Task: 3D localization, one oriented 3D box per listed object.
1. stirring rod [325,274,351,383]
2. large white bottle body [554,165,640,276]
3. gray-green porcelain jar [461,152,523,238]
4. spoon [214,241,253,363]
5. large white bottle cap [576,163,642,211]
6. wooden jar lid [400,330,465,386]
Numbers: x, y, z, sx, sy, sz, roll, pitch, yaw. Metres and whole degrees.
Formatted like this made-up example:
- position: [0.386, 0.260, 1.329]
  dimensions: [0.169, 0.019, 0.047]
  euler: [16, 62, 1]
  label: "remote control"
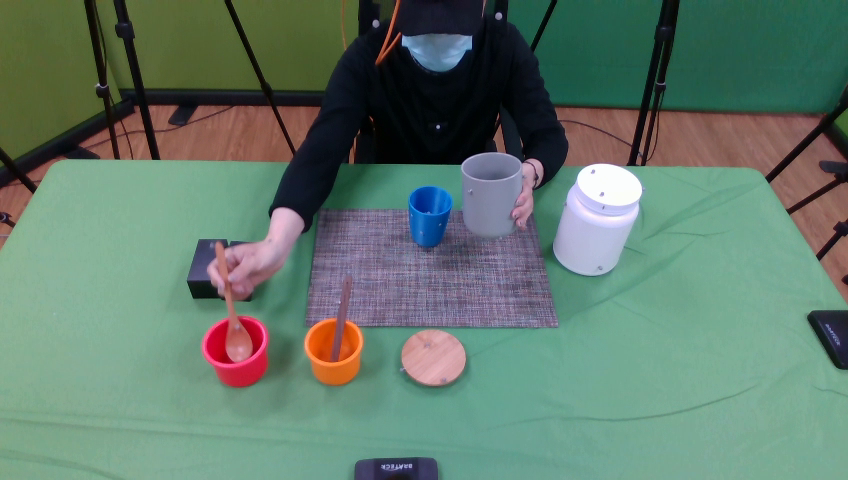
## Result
- position: [-0.137, 0.142, 0.972]
  dimensions: [0.014, 0.006, 0.176]
  euler: [10, 89, 0]
  label: "stirring rod"
- position: [0.326, -0.037, 1.141]
  dimensions: [0.131, 0.185, 0.130]
  euler: [2, 46, -2]
  label: "large white bottle body"
- position: [0.119, -0.075, 1.059]
  dimensions: [0.106, 0.127, 0.105]
  euler: [-3, 35, 2]
  label: "gray-green porcelain jar"
- position: [-0.304, 0.097, 0.952]
  dimensions: [0.041, 0.194, 0.021]
  euler: [-9, 7, 3]
  label: "spoon"
- position: [0.330, -0.096, 1.080]
  dimensions: [0.115, 0.018, 0.114]
  euler: [2, 46, -2]
  label: "large white bottle cap"
- position: [0.015, 0.198, 1.008]
  dimensions: [0.108, 0.021, 0.107]
  euler: [2, 47, -2]
  label: "wooden jar lid"
